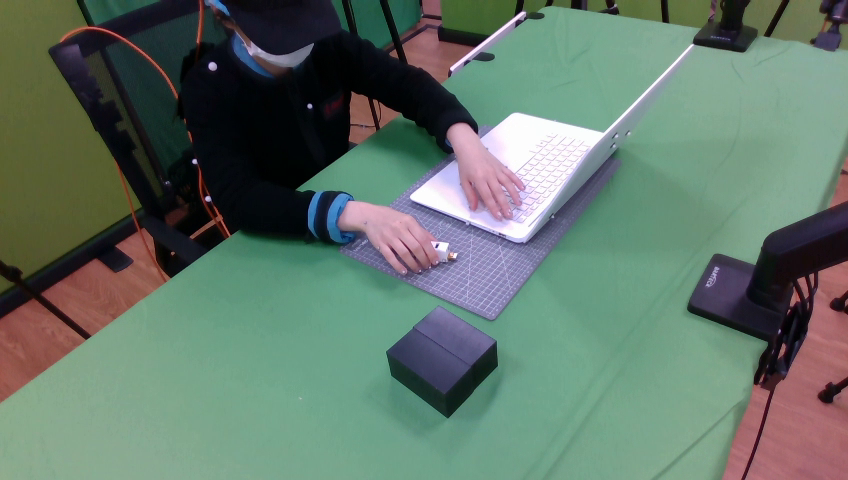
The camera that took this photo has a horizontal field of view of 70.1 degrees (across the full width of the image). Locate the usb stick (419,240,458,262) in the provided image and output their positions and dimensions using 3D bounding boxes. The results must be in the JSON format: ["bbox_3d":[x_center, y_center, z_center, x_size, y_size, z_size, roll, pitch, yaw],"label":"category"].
[{"bbox_3d":[0.023,0.018,0.936,0.059,0.027,0.021,10,44,14],"label":"usb stick"}]

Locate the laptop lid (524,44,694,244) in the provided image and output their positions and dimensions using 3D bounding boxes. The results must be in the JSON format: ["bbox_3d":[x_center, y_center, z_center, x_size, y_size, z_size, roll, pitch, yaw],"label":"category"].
[{"bbox_3d":[0.290,-0.151,0.941,0.013,0.241,0.358,40,54,12],"label":"laptop lid"}]

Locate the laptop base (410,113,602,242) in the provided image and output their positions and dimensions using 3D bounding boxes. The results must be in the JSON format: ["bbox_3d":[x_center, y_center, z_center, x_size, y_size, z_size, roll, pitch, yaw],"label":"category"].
[{"bbox_3d":[0.171,-0.127,1.096,0.233,0.023,0.355,21,47,33],"label":"laptop base"}]
